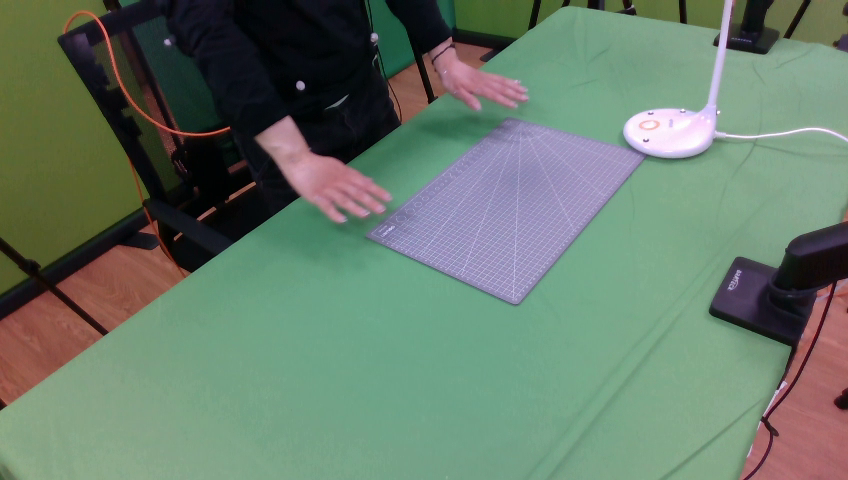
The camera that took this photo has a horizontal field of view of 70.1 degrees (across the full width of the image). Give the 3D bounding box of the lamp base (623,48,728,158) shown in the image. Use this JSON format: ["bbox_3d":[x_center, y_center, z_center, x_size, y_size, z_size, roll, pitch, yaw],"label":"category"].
[{"bbox_3d":[0.462,-0.261,1.084,0.179,0.181,0.160,3,42,7],"label":"lamp base"}]
